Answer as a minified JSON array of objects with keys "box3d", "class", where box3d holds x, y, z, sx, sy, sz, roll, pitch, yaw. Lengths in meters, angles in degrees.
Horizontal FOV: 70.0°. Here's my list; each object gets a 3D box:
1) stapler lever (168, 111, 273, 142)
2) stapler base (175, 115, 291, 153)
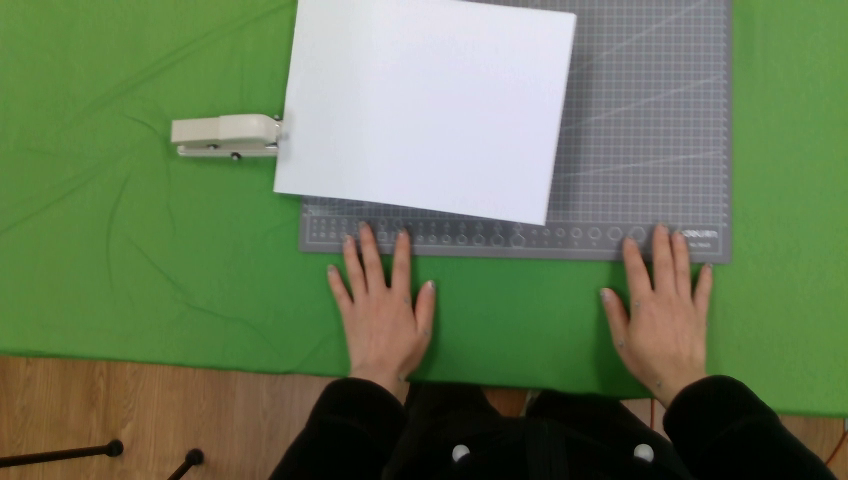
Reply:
[{"box3d":[-0.216,-0.118,0.636,0.118,0.040,0.027,0,86,5],"class":"stapler lever"},{"box3d":[-0.212,-0.117,0.660,0.130,0.024,0.041,0,86,5],"class":"stapler base"}]
